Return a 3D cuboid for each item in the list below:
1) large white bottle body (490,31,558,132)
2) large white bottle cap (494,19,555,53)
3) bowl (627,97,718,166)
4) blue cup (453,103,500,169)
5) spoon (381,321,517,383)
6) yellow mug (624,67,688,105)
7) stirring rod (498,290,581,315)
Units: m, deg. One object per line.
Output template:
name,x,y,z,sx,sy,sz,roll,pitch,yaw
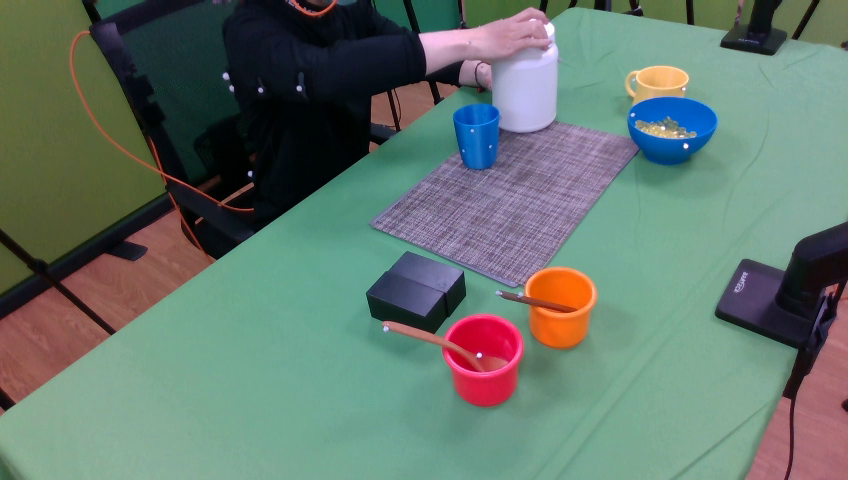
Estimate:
large white bottle body,0.196,-0.321,1.191,0.130,0.185,0.130,-4,41,4
large white bottle cap,0.188,-0.385,1.137,0.115,0.018,0.114,-4,43,5
bowl,0.439,-0.187,1.087,0.151,0.077,0.150,-4,41,4
blue cup,0.100,-0.188,1.115,0.092,0.100,0.092,-4,39,4
spoon,0.033,0.131,0.725,0.195,0.021,0.041,29,29,-26
yellow mug,0.465,-0.305,1.230,0.100,0.064,0.129,-34,46,-27
stirring rod,0.152,0.081,0.771,0.178,0.006,0.014,16,19,-44
